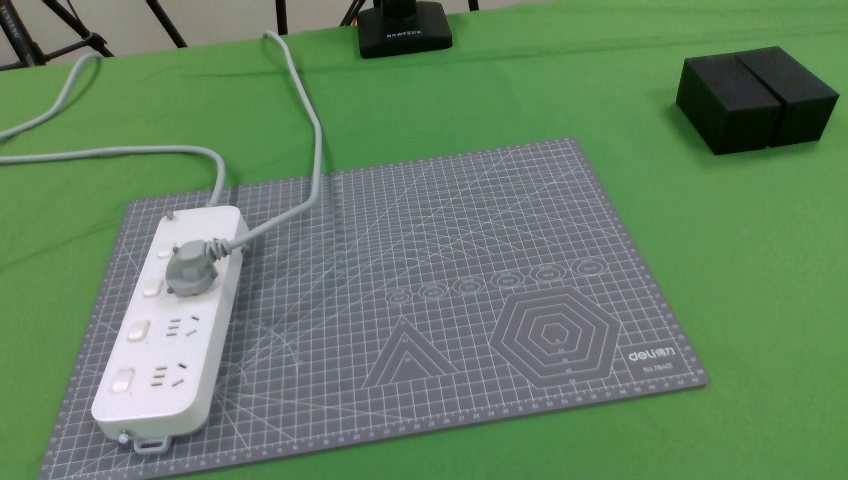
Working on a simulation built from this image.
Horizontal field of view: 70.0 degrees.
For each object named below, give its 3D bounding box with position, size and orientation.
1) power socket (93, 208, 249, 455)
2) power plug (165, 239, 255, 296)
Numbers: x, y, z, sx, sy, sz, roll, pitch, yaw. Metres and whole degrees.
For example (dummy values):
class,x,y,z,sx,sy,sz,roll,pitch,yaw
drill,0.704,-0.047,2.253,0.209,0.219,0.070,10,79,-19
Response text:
class,x,y,z,sx,sy,sz,roll,pitch,yaw
power socket,-0.186,0.054,0.470,0.072,0.033,0.224,-4,44,-1
power plug,-0.161,0.027,0.459,0.072,0.053,0.035,1,45,10
